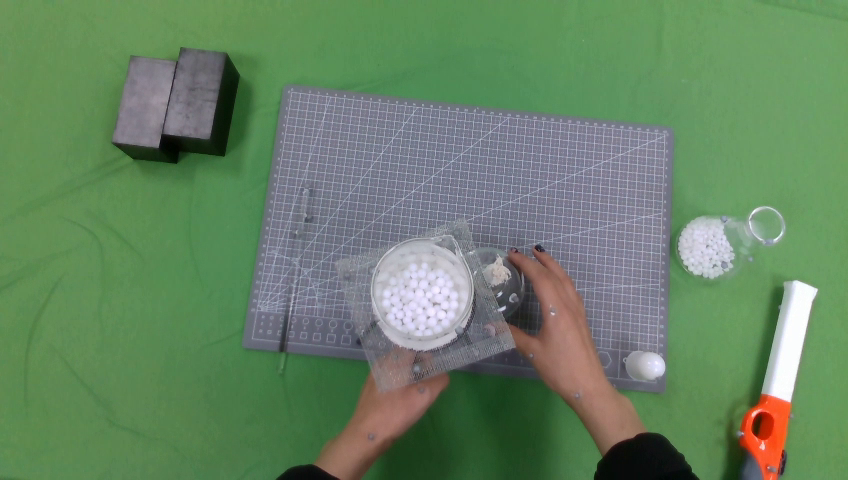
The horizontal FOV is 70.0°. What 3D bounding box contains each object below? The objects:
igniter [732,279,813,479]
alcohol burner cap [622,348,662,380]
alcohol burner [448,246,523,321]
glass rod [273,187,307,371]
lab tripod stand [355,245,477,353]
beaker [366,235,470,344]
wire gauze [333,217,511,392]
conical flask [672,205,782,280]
[{"bbox_3d":[0.362,0.174,0.636,0.057,0.025,0.275,21,79,-8],"label":"igniter"},{"bbox_3d":[0.229,0.128,0.629,0.034,0.048,0.033,1,78,-2],"label":"alcohol burner cap"},{"bbox_3d":[0.063,0.040,0.604,0.078,0.119,0.077,0,77,1],"label":"alcohol burner"},{"bbox_3d":[-0.143,0.040,0.651,0.008,0.008,0.199,7,82,-1],"label":"glass rod"},{"bbox_3d":[-0.005,0.067,0.587,0.148,0.132,0.148,0,81,-1],"label":"lab tripod stand"},{"bbox_3d":[-0.003,0.041,0.476,0.074,0.100,0.084,28,79,3],"label":"beaker"},{"bbox_3d":[-0.002,0.054,0.523,0.125,0.011,0.121,-18,83,-7],"label":"wire gauze"},{"bbox_3d":[0.313,-0.004,0.619,0.075,0.122,0.075,0,78,-1],"label":"conical flask"}]
